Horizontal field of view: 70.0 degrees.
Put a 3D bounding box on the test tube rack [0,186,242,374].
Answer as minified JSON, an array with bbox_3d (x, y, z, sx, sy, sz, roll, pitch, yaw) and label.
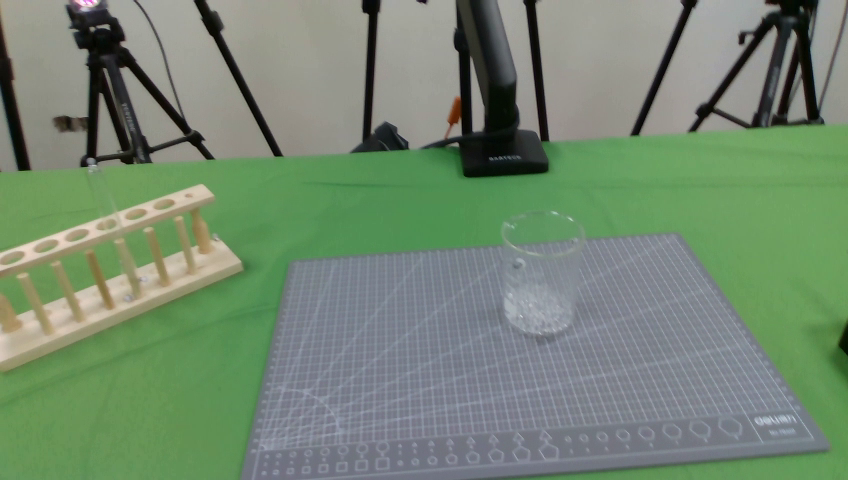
[{"bbox_3d":[-0.322,0.032,0.621,0.243,0.086,0.066,-25,40,-29],"label":"test tube rack"}]

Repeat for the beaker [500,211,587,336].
[{"bbox_3d":[0.106,0.033,0.569,0.074,0.101,0.083,-29,41,-32],"label":"beaker"}]

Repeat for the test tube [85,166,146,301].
[{"bbox_3d":[-0.299,-0.003,0.590,0.017,0.151,0.017,-1,34,1],"label":"test tube"}]
